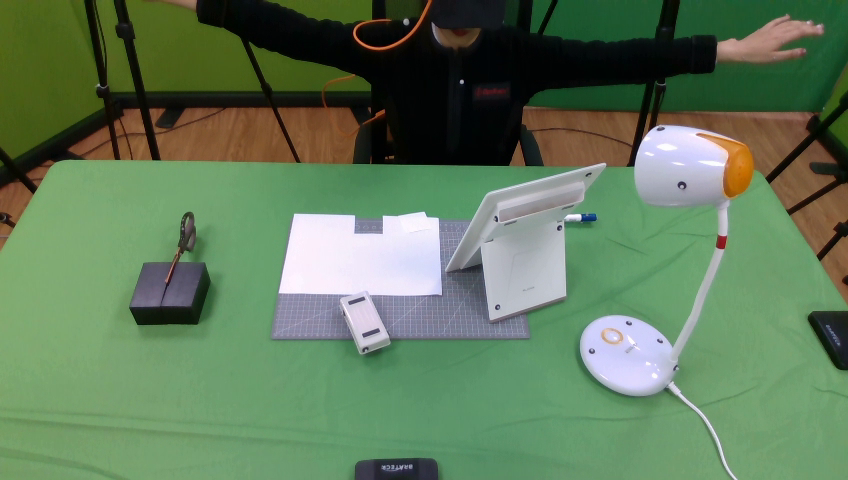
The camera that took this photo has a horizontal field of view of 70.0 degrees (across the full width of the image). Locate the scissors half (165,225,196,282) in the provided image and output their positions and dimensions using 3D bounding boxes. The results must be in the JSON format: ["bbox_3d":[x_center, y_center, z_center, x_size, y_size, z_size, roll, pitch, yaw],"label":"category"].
[{"bbox_3d":[-0.444,0.025,1.107,0.013,0.040,0.174,4,30,-5],"label":"scissors half"}]

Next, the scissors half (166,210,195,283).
[{"bbox_3d":[-0.440,0.010,1.094,0.013,0.040,0.174,8,48,-9],"label":"scissors half"}]

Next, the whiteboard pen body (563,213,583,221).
[{"bbox_3d":[0.283,-0.047,1.257,0.141,0.017,0.017,-1,46,-2],"label":"whiteboard pen body"}]

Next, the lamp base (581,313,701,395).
[{"bbox_3d":[0.361,0.144,0.973,0.178,0.181,0.160,34,53,23],"label":"lamp base"}]

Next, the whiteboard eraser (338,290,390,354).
[{"bbox_3d":[-0.103,0.141,1.035,0.056,0.042,0.112,-15,49,-19],"label":"whiteboard eraser"}]

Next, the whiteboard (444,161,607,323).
[{"bbox_3d":[0.186,0.025,1.029,0.217,0.306,0.143,-14,68,-18],"label":"whiteboard"}]

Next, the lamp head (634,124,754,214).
[{"bbox_3d":[0.351,-0.089,0.775,0.112,0.113,0.122,-30,30,-28],"label":"lamp head"}]

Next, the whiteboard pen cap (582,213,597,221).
[{"bbox_3d":[0.342,-0.048,1.260,0.033,0.018,0.018,-3,46,-3],"label":"whiteboard pen cap"}]
